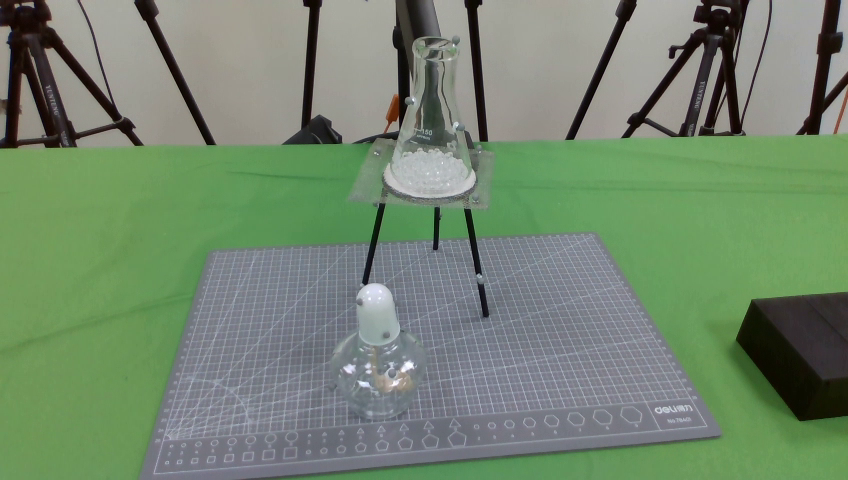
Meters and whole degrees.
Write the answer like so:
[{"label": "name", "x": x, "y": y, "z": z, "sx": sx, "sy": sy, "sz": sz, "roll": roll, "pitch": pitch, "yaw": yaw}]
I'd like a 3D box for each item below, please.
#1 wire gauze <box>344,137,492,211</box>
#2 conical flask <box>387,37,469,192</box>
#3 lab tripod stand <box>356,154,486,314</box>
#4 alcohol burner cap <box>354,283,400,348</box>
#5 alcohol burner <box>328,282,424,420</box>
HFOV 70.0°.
[{"label": "wire gauze", "x": 0.000, "y": -0.061, "z": 0.557, "sx": 0.121, "sy": 0.011, "sz": 0.124, "roll": 6, "pitch": 37, "yaw": 6}, {"label": "conical flask", "x": 0.005, "y": -0.108, "z": 0.520, "sx": 0.075, "sy": 0.123, "sz": 0.074, "roll": 2, "pitch": 35, "yaw": -1}, {"label": "lab tripod stand", "x": 0.005, "y": -0.006, "z": 0.594, "sx": 0.148, "sy": 0.132, "sz": 0.147, "roll": 3, "pitch": 34, "yaw": -2}, {"label": "alcohol burner cap", "x": -0.037, "y": 0.055, "z": 0.457, "sx": 0.034, "sy": 0.048, "sz": 0.033, "roll": -4, "pitch": 38, "yaw": 3}, {"label": "alcohol burner", "x": -0.038, "y": 0.084, "z": 0.478, "sx": 0.078, "sy": 0.120, "sz": 0.077, "roll": 1, "pitch": 33, "yaw": 0}]
